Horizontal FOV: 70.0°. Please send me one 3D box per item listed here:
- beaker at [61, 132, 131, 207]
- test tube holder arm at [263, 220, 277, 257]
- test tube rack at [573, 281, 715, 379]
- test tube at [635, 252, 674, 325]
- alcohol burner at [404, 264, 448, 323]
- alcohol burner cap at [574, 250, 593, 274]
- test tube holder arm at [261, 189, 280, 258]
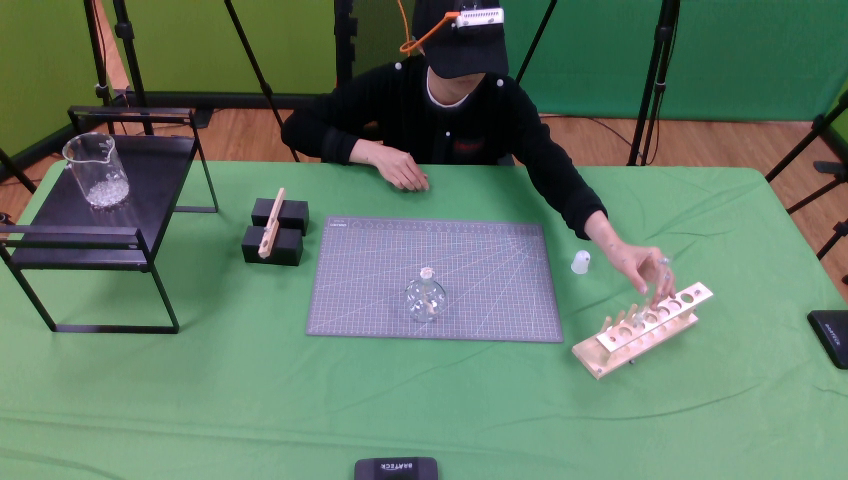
[{"bbox_3d":[-0.512,-0.107,0.959,0.083,0.101,0.074,29,51,22],"label":"beaker"},{"bbox_3d":[-0.283,-0.004,1.116,0.010,0.015,0.087,2,45,-3],"label":"test tube holder arm"},{"bbox_3d":[0.378,0.140,1.038,0.242,0.085,0.066,-22,51,-23],"label":"test tube rack"},{"bbox_3d":[0.353,0.078,0.932,0.017,0.151,0.017,3,40,-3],"label":"test tube"},{"bbox_3d":[0.003,0.087,1.042,0.078,0.120,0.077,1,45,0],"label":"alcohol burner"},{"bbox_3d":[0.308,0.039,1.163,0.034,0.048,0.033,1,47,-1],"label":"alcohol burner cap"},{"bbox_3d":[-0.290,-0.036,1.147,0.013,0.015,0.177,1,45,-4],"label":"test tube holder arm"}]
